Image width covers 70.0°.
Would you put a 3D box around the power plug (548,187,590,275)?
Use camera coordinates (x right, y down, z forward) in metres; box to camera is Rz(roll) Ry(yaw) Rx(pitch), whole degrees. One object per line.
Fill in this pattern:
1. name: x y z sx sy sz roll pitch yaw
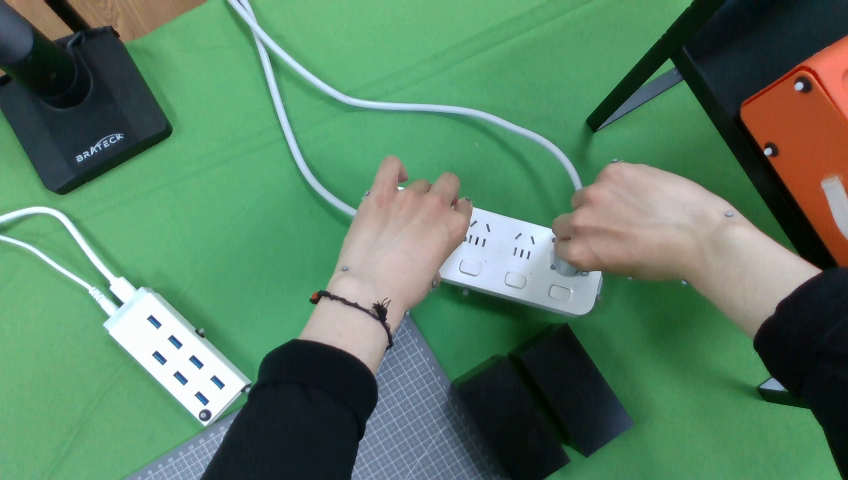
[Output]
1. power plug: 0.136 -0.004 0.540 0.035 0.053 0.072 27 79 2

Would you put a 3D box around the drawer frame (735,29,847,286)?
1. drawer frame: 0.345 -0.065 0.376 0.213 0.083 0.201 -32 85 -8

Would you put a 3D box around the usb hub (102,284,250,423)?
1. usb hub: -0.215 0.098 0.527 0.125 0.025 0.049 43 83 2

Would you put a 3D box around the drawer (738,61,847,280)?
1. drawer: 0.343 -0.062 0.376 0.212 0.073 0.194 -31 85 -8

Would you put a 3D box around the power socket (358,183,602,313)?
1. power socket: 0.054 0.008 0.552 0.227 0.032 0.072 15 81 -1

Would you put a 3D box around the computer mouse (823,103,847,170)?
1. computer mouse: 0.317 -0.047 0.388 0.063 0.041 0.117 -35 84 -3
